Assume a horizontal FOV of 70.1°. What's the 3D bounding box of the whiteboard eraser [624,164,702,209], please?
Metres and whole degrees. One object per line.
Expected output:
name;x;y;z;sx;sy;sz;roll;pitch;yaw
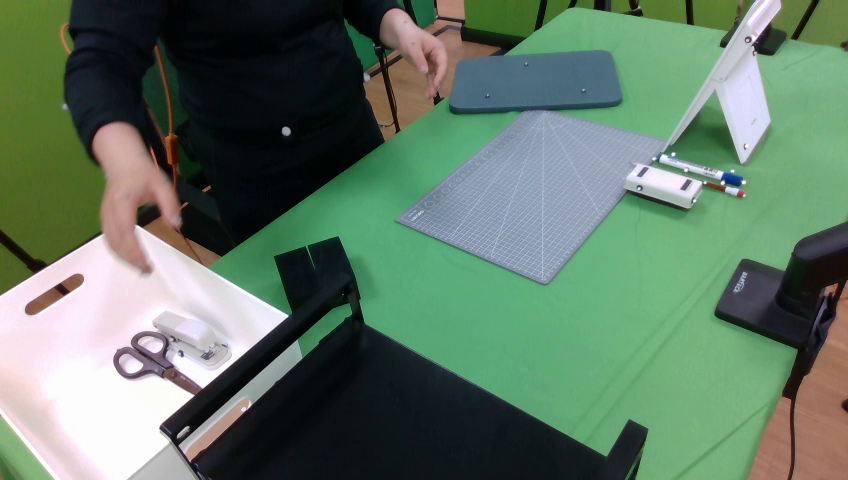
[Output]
whiteboard eraser;0.396;-0.087;1.003;0.112;0.042;0.056;22;47;31

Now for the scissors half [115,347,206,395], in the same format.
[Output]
scissors half;-0.348;0.185;0.810;0.174;0.013;0.040;15;54;19

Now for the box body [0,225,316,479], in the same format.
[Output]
box body;-0.339;0.162;0.728;0.361;0.161;0.255;23;48;31

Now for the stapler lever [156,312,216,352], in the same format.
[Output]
stapler lever;-0.331;0.122;0.835;0.117;0.040;0.027;17;43;33

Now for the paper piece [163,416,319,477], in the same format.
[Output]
paper piece;-0.229;0.236;0.760;0.137;0.008;0.137;33;37;29

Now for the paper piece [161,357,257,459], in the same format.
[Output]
paper piece;-0.232;0.219;0.749;0.134;0.004;0.136;25;51;32

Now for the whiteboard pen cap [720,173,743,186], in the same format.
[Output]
whiteboard pen cap;0.519;-0.103;1.020;0.033;0.018;0.018;23;49;30

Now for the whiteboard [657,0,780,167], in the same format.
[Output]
whiteboard;0.571;-0.272;1.038;0.143;0.306;0.218;37;54;17

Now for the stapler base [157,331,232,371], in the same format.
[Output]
stapler base;-0.326;0.142;0.849;0.129;0.024;0.041;18;43;32

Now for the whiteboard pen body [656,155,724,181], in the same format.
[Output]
whiteboard pen body;0.475;-0.123;1.052;0.139;0.017;0.017;24;49;32

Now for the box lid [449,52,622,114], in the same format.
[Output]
box lid;0.249;-0.358;1.370;0.371;0.015;0.262;-1;40;9

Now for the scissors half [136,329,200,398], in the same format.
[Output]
scissors half;-0.336;0.172;0.821;0.174;0.013;0.040;34;57;31

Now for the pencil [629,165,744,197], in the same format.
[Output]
pencil;0.447;-0.103;1.038;0.192;0.012;0.012;21;48;29
